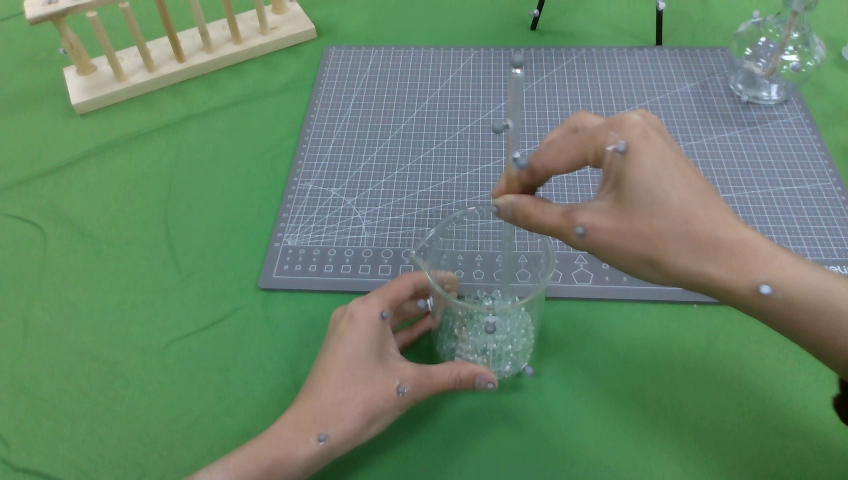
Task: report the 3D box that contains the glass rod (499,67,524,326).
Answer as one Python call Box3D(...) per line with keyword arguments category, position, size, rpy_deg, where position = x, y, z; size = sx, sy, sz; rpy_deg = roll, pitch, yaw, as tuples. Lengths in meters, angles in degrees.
Box3D(category="glass rod", position=(0.047, -0.008, 0.338), size=(0.008, 0.201, 0.008), rpy_deg=(-3, 49, 3))

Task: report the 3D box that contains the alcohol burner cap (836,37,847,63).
Box3D(category="alcohol burner cap", position=(0.418, -0.193, 0.571), size=(0.034, 0.048, 0.033), rpy_deg=(-1, 51, 2))

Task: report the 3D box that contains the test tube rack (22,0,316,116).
Box3D(category="test tube rack", position=(-0.237, -0.211, 0.589), size=(0.242, 0.086, 0.066), rpy_deg=(-24, 55, -15))

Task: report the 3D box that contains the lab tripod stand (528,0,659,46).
Box3D(category="lab tripod stand", position=(0.180, -0.273, 0.587), size=(0.148, 0.132, 0.147), rpy_deg=(0, 52, 1))

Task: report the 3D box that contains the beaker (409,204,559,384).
Box3D(category="beaker", position=(0.035, 0.038, 0.374), size=(0.084, 0.101, 0.073), rpy_deg=(4, 52, 7))

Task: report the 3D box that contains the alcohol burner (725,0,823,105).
Box3D(category="alcohol burner", position=(0.303, -0.176, 0.513), size=(0.078, 0.120, 0.077), rpy_deg=(-1, 54, 2))
